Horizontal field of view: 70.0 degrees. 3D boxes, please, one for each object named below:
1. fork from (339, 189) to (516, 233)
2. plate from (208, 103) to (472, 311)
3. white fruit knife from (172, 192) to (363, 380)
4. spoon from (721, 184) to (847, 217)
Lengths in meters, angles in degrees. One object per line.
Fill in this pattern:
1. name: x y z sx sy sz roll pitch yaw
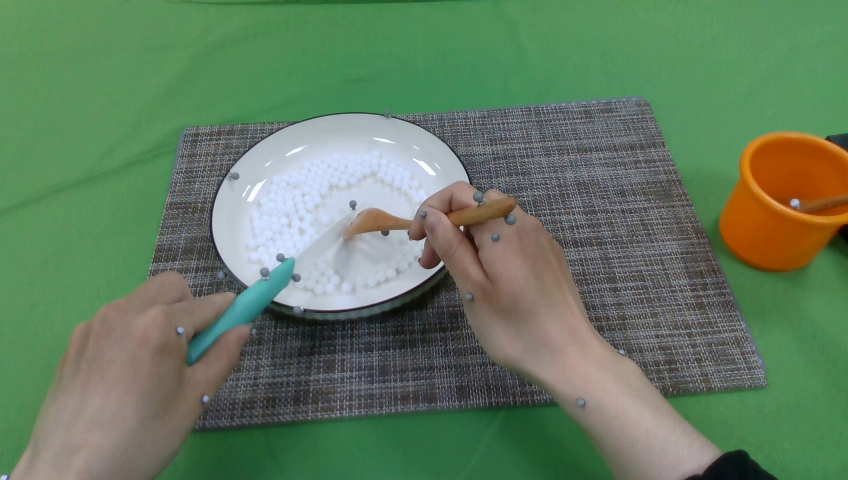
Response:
1. fork: -0.009 -0.019 0.405 0.206 0.019 0.028 -1 48 55
2. plate: -0.065 -0.029 0.492 0.209 0.038 0.207 -1 53 1
3. white fruit knife: -0.101 0.019 0.434 0.016 0.027 0.206 21 43 19
4. spoon: 0.302 -0.033 0.425 0.041 0.193 0.022 -34 104 -25
